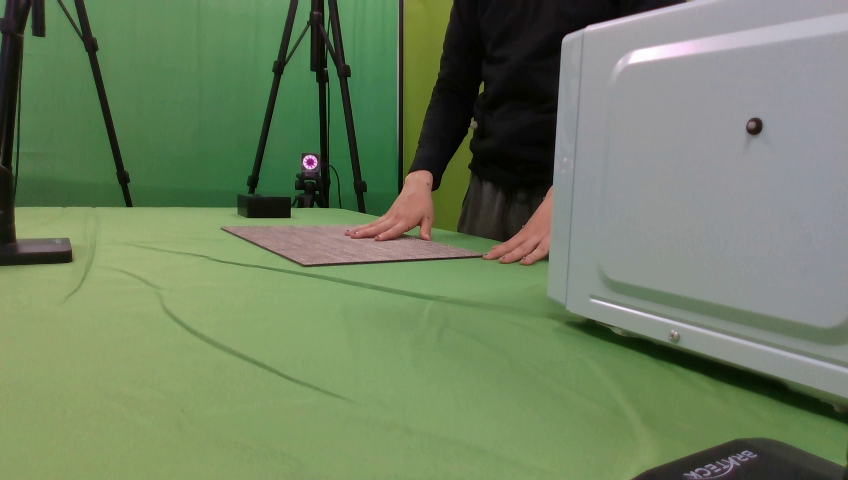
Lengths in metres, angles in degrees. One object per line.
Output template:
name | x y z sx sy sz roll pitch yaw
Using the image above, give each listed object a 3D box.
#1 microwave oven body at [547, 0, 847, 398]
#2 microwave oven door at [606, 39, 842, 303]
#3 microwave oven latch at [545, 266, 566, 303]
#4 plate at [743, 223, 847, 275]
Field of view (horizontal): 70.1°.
microwave oven body | 0.378 -0.045 0.509 0.444 0.260 0.324 -2 8 -31
microwave oven door | 0.341 -0.070 0.654 0.358 0.243 0.039 -3 9 -31
microwave oven latch | 0.147 0.038 0.555 0.079 0.029 0.030 -2 7 -29
plate | 0.407 0.008 0.553 0.209 0.038 0.209 1 5 0
